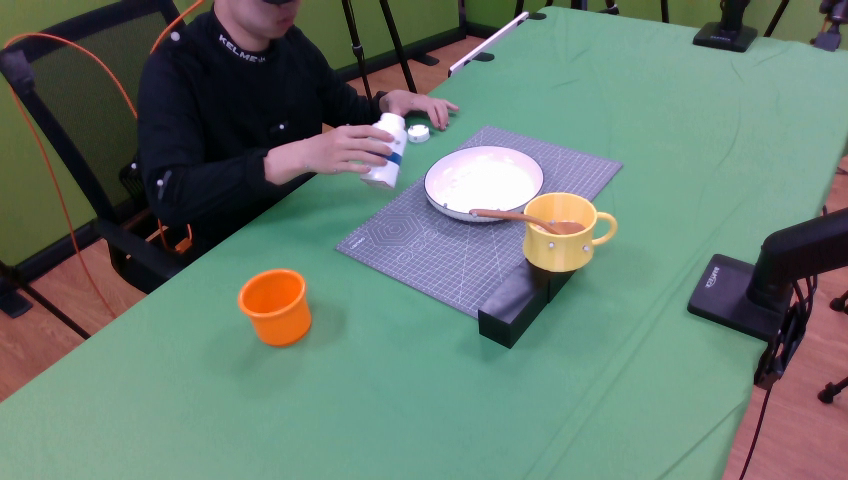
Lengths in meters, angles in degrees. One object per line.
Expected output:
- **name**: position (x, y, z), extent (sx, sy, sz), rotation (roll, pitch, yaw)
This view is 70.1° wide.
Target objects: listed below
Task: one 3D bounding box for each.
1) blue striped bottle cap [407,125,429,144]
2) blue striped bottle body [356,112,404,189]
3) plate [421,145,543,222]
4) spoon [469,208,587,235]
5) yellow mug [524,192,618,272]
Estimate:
- **blue striped bottle cap**: position (-0.012, -0.214, 1.227), extent (0.044, 0.021, 0.044), rotation (-5, 37, 5)
- **blue striped bottle body**: position (-0.071, -0.151, 1.016), extent (0.063, 0.063, 0.120), rotation (10, 83, 19)
- **plate**: position (0.101, -0.094, 1.048), extent (0.207, 0.039, 0.206), rotation (-4, 41, 4)
- **spoon**: position (0.143, -0.026, 0.817), extent (0.195, 0.021, 0.041), rotation (12, 35, -29)
- **yellow mug**: position (0.206, -0.014, 0.845), extent (0.131, 0.064, 0.099), rotation (-4, 41, 2)
